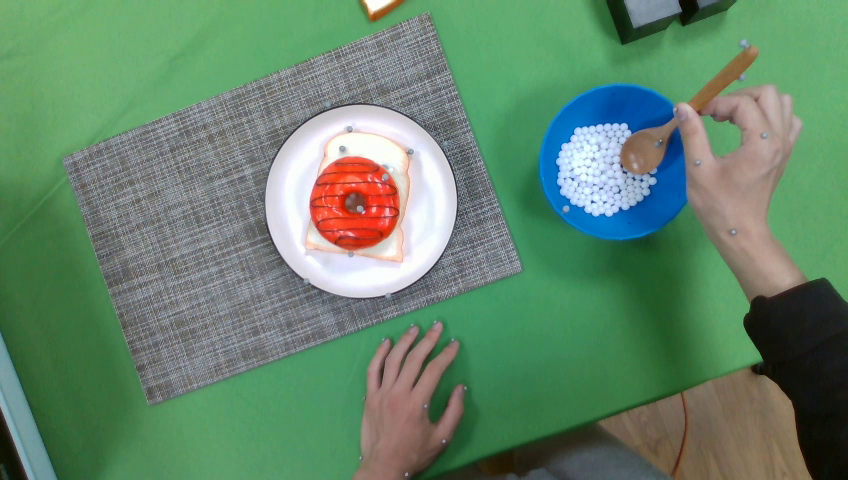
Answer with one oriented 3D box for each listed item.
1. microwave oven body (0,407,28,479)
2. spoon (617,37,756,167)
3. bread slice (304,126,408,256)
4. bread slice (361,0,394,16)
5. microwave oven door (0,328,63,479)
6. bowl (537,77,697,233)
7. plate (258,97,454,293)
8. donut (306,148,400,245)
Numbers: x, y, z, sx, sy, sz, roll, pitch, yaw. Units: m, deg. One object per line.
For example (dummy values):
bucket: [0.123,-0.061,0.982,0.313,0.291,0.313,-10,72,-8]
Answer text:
microwave oven body: [-0.635,0.169,0.586,0.326,0.260,0.441,-22,90,4]
spoon: [0.225,-0.115,0.536,0.021,0.194,0.041,-34,81,-16]
bread slice: [-0.071,-0.054,0.652,0.107,0.018,0.134,5,92,4]
bread slice: [-0.053,-0.327,0.660,0.105,0.019,0.131,-35,90,3]
microwave oven door: [-0.485,0.153,0.570,0.039,0.244,0.355,-23,89,4]
bowl: [0.187,-0.081,0.617,0.151,0.077,0.151,0,91,4]
plate: [-0.071,-0.047,0.652,0.207,0.039,0.207,0,91,4]
donut: [-0.073,-0.045,0.625,0.099,0.048,0.099,0,92,5]
